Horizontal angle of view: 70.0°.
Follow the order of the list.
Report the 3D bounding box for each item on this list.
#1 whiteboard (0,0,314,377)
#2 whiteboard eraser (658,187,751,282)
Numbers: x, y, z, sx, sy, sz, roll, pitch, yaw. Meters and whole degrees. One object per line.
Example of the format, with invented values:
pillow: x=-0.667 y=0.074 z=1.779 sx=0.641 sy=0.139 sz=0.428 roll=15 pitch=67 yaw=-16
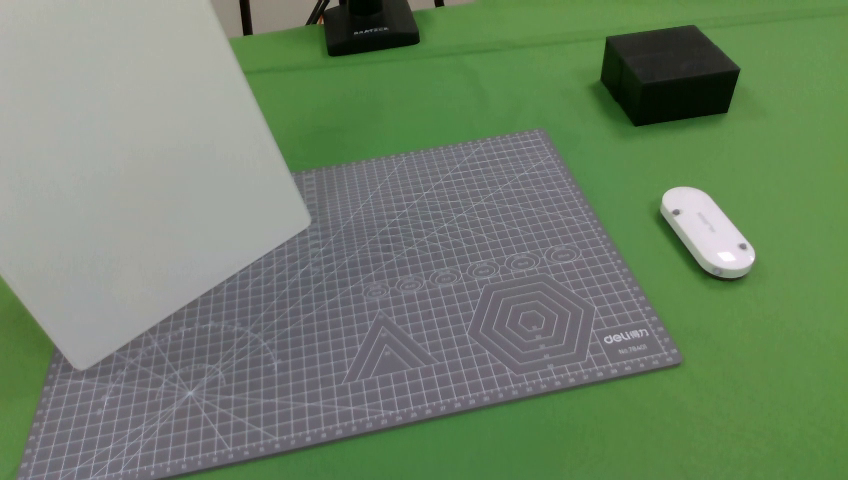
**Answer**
whiteboard: x=-0.263 y=-0.095 z=0.471 sx=0.217 sy=0.308 sz=0.142 roll=-36 pitch=33 yaw=-27
whiteboard eraser: x=0.228 y=-0.008 z=0.498 sx=0.041 sy=0.019 sz=0.100 roll=-10 pitch=46 yaw=-6
